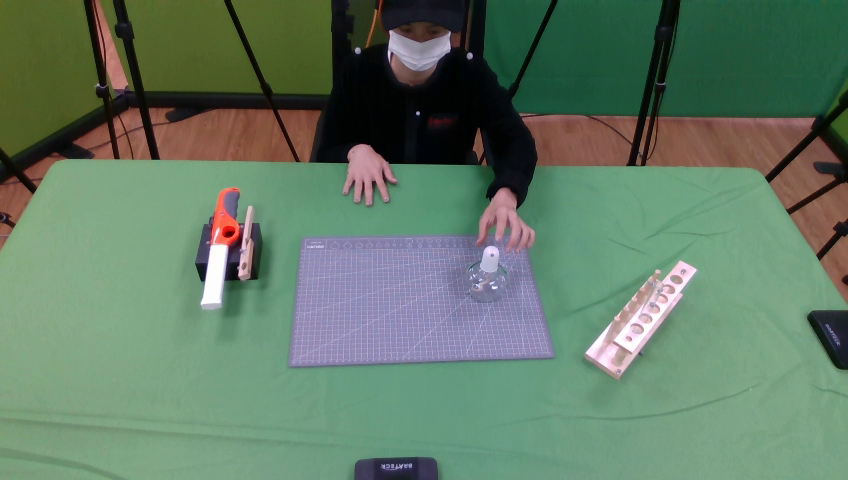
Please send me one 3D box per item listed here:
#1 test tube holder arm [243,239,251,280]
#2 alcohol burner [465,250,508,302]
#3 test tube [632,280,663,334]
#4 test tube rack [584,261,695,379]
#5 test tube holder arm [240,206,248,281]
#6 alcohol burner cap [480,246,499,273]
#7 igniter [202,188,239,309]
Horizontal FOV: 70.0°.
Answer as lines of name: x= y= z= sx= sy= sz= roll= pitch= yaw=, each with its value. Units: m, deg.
test tube holder arm: x=-0.315 y=0.035 z=1.077 sx=0.010 sy=0.015 sz=0.087 roll=-4 pitch=48 yaw=-9
alcohol burner: x=0.114 y=0.057 z=1.085 sx=0.078 sy=0.120 sz=0.077 roll=2 pitch=48 yaw=-2
test tube: x=0.363 y=0.121 z=0.997 sx=0.017 sy=0.151 sz=0.017 roll=2 pitch=44 yaw=-1
test tube rack: x=0.380 y=0.127 z=1.062 sx=0.066 sy=0.085 sz=0.242 roll=34 pitch=53 yaw=26
test tube holder arm: x=-0.329 y=0.002 z=1.106 sx=0.013 sy=0.015 sz=0.177 roll=-6 pitch=48 yaw=-11
alcohol burner cap: x=0.116 y=0.031 z=1.060 sx=0.034 sy=0.048 sz=0.033 roll=3 pitch=43 yaw=-3
igniter: x=-0.367 y=0.006 z=1.095 sx=0.057 sy=0.025 sz=0.274 roll=-2 pitch=50 yaw=-7
